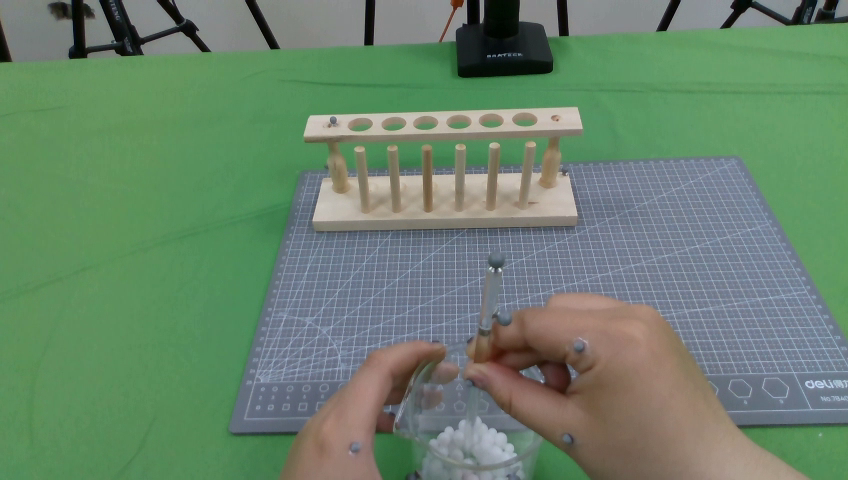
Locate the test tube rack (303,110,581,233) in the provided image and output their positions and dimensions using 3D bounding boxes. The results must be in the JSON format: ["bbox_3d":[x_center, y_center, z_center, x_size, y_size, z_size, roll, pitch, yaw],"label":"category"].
[{"bbox_3d":[0.016,-0.061,0.553,0.242,0.086,0.066,-1,44,3],"label":"test tube rack"}]

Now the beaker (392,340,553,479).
[{"bbox_3d":[0.025,0.117,0.341,0.084,0.101,0.073,-13,45,-12],"label":"beaker"}]

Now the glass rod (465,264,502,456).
[{"bbox_3d":[0.028,0.073,0.305,0.008,0.201,0.008,0,52,1],"label":"glass rod"}]
